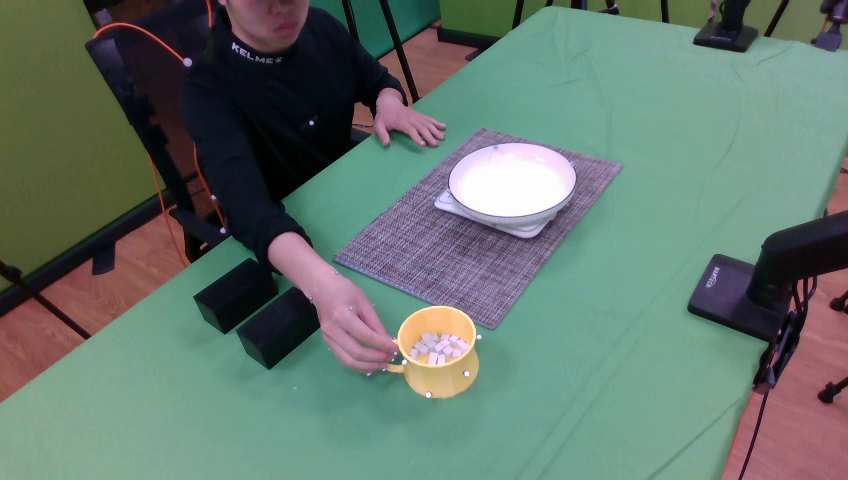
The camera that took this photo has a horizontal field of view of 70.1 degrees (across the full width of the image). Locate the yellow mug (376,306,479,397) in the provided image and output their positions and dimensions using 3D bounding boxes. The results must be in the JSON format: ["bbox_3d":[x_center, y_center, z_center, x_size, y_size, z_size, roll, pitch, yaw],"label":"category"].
[{"bbox_3d":[0.003,0.143,0.768,0.131,0.064,0.099,-8,41,1],"label":"yellow mug"}]

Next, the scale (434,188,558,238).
[{"bbox_3d":[0.132,-0.075,1.025,0.199,0.032,0.149,22,48,30],"label":"scale"}]

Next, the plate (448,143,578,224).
[{"bbox_3d":[0.145,-0.089,0.989,0.209,0.038,0.208,-4,41,4],"label":"plate"}]
